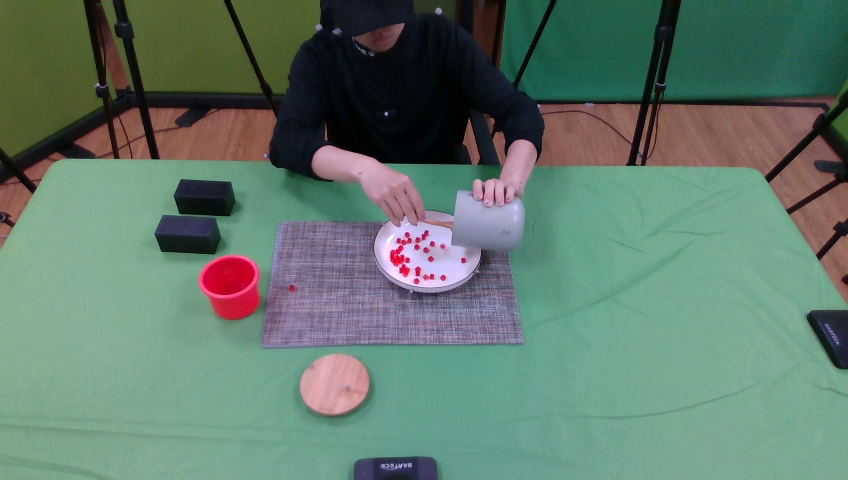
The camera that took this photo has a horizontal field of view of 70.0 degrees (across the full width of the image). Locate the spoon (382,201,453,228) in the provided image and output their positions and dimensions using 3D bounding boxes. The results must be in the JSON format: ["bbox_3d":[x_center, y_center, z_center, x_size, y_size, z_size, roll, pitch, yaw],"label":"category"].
[{"bbox_3d":[0.013,-0.036,1.116,0.194,0.022,0.041,16,22,-7],"label":"spoon"}]

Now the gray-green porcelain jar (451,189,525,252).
[{"bbox_3d":[0.118,-0.035,1.110,0.126,0.106,0.105,6,46,3],"label":"gray-green porcelain jar"}]

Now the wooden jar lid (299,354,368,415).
[{"bbox_3d":[-0.143,0.232,0.964,0.108,0.021,0.107,2,45,-2],"label":"wooden jar lid"}]

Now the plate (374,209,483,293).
[{"bbox_3d":[0.008,0.023,1.158,0.208,0.039,0.206,2,46,-2],"label":"plate"}]
